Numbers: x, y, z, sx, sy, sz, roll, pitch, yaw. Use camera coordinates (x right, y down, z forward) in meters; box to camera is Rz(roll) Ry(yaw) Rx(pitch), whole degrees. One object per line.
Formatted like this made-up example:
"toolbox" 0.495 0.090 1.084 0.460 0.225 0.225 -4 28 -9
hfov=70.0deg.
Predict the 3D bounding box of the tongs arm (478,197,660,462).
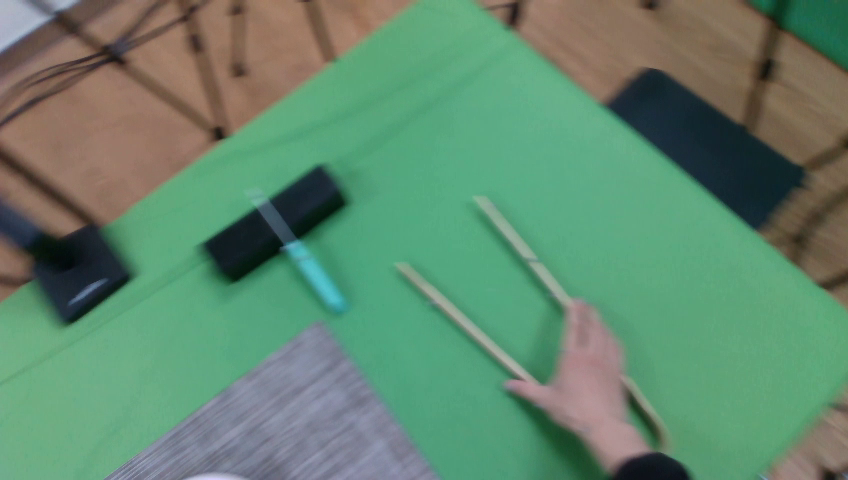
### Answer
"tongs arm" 0.167 0.100 0.763 0.051 0.027 0.382 -34 70 -8

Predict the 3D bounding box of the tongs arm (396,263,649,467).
"tongs arm" 0.107 0.149 0.753 0.385 0.028 0.028 40 74 18

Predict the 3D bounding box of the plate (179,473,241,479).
"plate" -0.250 0.375 0.686 0.207 0.039 0.206 -2 68 5

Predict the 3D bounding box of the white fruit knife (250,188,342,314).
"white fruit knife" -0.174 0.013 0.807 0.016 0.027 0.207 -36 83 -11
